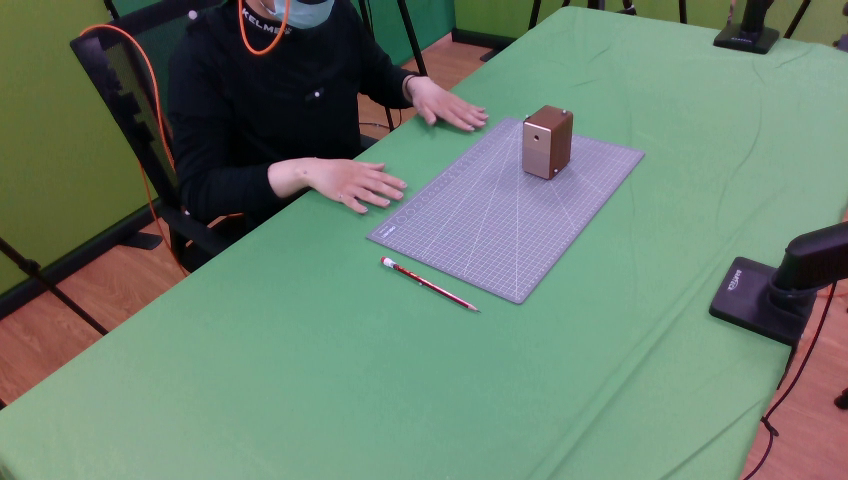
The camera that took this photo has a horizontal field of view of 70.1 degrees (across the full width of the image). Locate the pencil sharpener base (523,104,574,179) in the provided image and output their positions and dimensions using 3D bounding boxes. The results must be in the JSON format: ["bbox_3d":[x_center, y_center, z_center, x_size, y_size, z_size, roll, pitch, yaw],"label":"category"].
[{"bbox_3d":[0.220,-0.175,1.071,0.061,0.107,0.077,26,50,33],"label":"pencil sharpener base"}]

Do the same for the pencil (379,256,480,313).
[{"bbox_3d":[0.005,0.066,0.901,0.192,0.012,0.012,26,50,31],"label":"pencil"}]

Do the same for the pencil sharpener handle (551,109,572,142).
[{"bbox_3d":[0.253,-0.212,1.090,0.035,0.068,0.031,22,48,36],"label":"pencil sharpener handle"}]
